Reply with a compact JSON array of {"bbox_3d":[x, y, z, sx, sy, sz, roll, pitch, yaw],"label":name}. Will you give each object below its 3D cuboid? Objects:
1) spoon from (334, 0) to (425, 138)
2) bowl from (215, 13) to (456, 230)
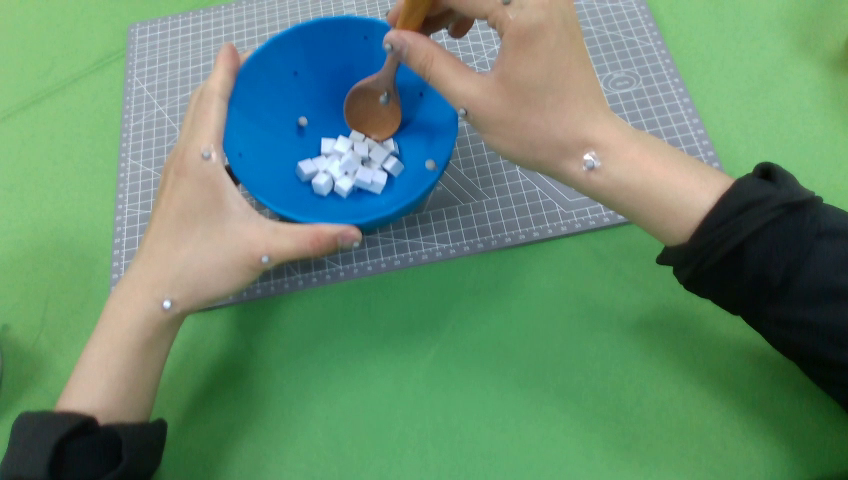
[{"bbox_3d":[-0.020,-0.107,0.348,0.042,0.194,0.021,25,71,-10],"label":"spoon"},{"bbox_3d":[-0.054,-0.068,0.413,0.151,0.077,0.150,0,71,1],"label":"bowl"}]
